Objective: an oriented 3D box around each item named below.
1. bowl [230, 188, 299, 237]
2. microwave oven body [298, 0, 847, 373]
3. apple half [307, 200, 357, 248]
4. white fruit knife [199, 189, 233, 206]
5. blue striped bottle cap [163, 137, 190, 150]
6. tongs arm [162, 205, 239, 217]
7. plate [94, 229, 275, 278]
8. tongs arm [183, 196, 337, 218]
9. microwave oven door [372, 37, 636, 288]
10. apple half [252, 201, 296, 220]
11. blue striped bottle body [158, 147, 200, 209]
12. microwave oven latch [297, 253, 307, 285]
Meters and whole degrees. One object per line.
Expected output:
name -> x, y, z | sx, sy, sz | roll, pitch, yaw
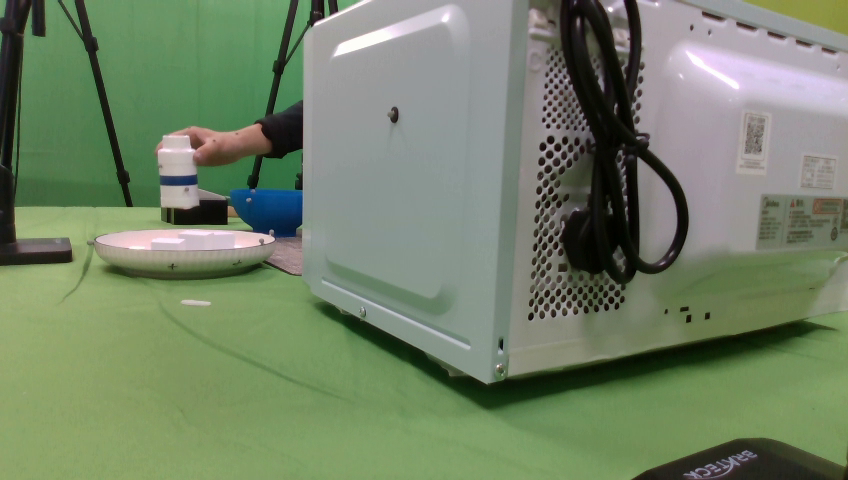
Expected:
bowl -> -0.264, -0.048, 1.065 | 0.151, 0.077, 0.151 | 3, 9, 0
microwave oven body -> 0.151, -0.055, 0.542 | 0.444, 0.260, 0.324 | -2, 7, -33
apple half -> -0.135, -0.024, 0.941 | 0.053, 0.074, 0.081 | 13, 9, 38
white fruit knife -> -0.413, -0.081, 1.270 | 0.208, 0.027, 0.016 | 17, 13, -42
blue striped bottle cap -> -0.428, -0.167, 1.045 | 0.044, 0.020, 0.044 | 5, 11, -1
tongs arm -> -0.396, -0.066, 1.399 | 0.389, 0.028, 0.028 | 1, 5, -15
plate -> -0.291, 0.016, 0.750 | 0.208, 0.039, 0.207 | 2, 7, 0
tongs arm -> -0.404, -0.081, 1.479 | 0.385, 0.026, 0.050 | 3, 8, -2
microwave oven door -> 0.110, -0.080, 0.686 | 0.358, 0.243, 0.039 | -2, 9, -33
apple half -> -0.264, -0.053, 1.066 | 0.081, 0.033, 0.081 | 2, 8, 0
blue striped bottle body -> -0.428, -0.117, 1.056 | 0.063, 0.121, 0.063 | 0, 12, 0
microwave oven latch -> -0.081, 0.027, 0.582 | 0.079, 0.029, 0.030 | -1, 7, -32
